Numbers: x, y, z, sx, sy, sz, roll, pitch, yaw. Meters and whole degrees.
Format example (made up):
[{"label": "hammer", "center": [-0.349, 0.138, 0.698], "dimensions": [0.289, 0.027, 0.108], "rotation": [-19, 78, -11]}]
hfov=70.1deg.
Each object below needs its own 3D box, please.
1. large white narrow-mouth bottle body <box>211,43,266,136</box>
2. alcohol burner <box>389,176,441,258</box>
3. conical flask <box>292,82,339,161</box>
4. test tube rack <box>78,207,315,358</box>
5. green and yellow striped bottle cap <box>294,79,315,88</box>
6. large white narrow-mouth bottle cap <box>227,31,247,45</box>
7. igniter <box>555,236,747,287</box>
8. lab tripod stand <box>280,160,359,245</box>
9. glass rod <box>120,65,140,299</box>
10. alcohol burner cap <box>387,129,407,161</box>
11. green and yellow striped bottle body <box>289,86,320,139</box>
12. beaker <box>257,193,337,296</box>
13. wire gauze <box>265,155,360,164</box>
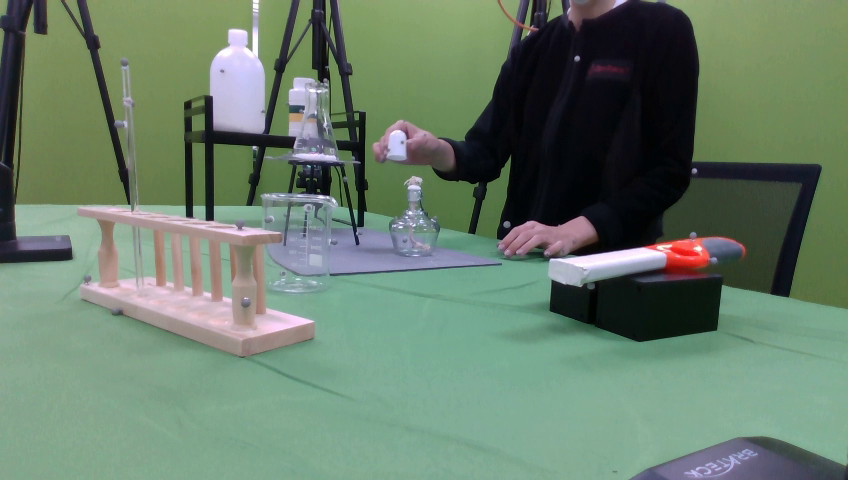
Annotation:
[{"label": "large white narrow-mouth bottle body", "center": [-0.361, -0.302, 1.176], "dimensions": [0.102, 0.194, 0.102], "rotation": [1, 7, 0]}, {"label": "alcohol burner", "center": [-0.013, -0.034, 0.891], "dimensions": [0.078, 0.119, 0.078], "rotation": [1, 6, 0]}, {"label": "conical flask", "center": [-0.171, -0.185, 0.957], "dimensions": [0.075, 0.122, 0.075], "rotation": [2, 7, 0]}, {"label": "test tube rack", "center": [-0.196, 0.023, 0.500], "dimensions": [0.241, 0.085, 0.067], "rotation": [8, 9, 37]}, {"label": "green and yellow striped bottle cap", "center": [-0.248, -0.323, 1.256], "dimensions": [0.045, 0.020, 0.045], "rotation": [3, 9, 0]}, {"label": "large white narrow-mouth bottle cap", "center": [-0.361, -0.389, 1.165], "dimensions": [0.038, 0.024, 0.037], "rotation": [1, 7, 0]}, {"label": "igniter", "center": [0.221, 0.017, 0.558], "dimensions": [0.278, 0.025, 0.057], "rotation": [-5, 15, -39]}, {"label": "lab tripod stand", "center": [-0.176, -0.062, 0.973], "dimensions": [0.148, 0.131, 0.148], "rotation": [1, 7, 0]}, {"label": "glass rod", "center": [-0.249, -0.047, 0.513], "dimensions": [0.008, 0.199, 0.008], "rotation": [-1, 4, 0]}, {"label": "alcohol burner cap", "center": [-0.041, -0.149, 0.943], "dimensions": [0.034, 0.048, 0.034], "rotation": [1, -7, 0]}, {"label": "green and yellow striped bottle body", "center": [-0.250, -0.272, 1.261], "dimensions": [0.063, 0.119, 0.063], "rotation": [3, 7, 0]}, {"label": "beaker", "center": [-0.130, 0.004, 0.628], "dimensions": [0.084, 0.100, 0.074], "rotation": [5, 8, 15]}, {"label": "wire gauze", "center": [-0.181, -0.128, 0.969], "dimensions": [0.126, 0.011, 0.121], "rotation": [-3, 7, -26]}]
